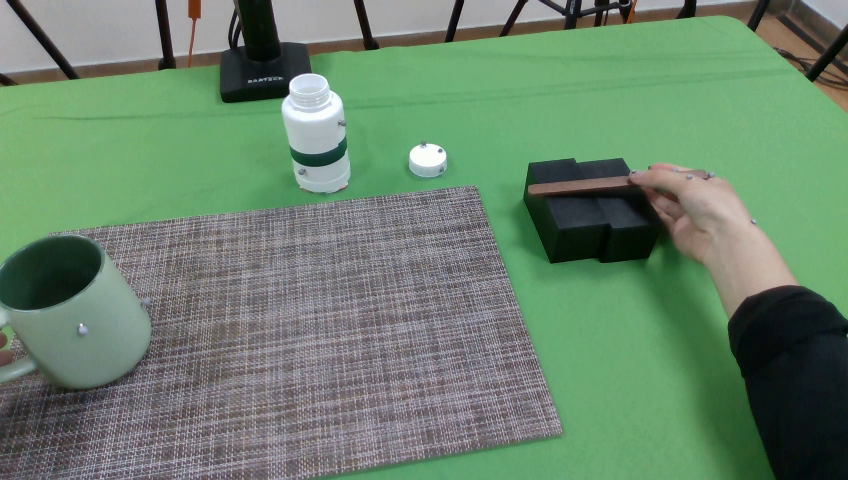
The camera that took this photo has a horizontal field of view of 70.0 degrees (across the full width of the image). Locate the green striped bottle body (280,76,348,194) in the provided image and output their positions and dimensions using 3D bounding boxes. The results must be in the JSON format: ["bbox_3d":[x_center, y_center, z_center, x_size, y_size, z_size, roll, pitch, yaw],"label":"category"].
[{"bbox_3d":[-0.117,-0.113,0.649,0.063,0.120,0.062,1,47,0],"label":"green striped bottle body"}]

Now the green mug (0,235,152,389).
[{"bbox_3d":[-0.292,0.068,0.479,0.125,0.106,0.091,-34,56,-28],"label":"green mug"}]

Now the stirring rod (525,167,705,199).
[{"bbox_3d":[0.190,-0.057,0.607,0.176,0.006,0.014,-6,69,6],"label":"stirring rod"}]

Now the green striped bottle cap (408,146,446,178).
[{"bbox_3d":[0.003,-0.090,0.701,0.044,0.020,0.044,0,43,0],"label":"green striped bottle cap"}]
